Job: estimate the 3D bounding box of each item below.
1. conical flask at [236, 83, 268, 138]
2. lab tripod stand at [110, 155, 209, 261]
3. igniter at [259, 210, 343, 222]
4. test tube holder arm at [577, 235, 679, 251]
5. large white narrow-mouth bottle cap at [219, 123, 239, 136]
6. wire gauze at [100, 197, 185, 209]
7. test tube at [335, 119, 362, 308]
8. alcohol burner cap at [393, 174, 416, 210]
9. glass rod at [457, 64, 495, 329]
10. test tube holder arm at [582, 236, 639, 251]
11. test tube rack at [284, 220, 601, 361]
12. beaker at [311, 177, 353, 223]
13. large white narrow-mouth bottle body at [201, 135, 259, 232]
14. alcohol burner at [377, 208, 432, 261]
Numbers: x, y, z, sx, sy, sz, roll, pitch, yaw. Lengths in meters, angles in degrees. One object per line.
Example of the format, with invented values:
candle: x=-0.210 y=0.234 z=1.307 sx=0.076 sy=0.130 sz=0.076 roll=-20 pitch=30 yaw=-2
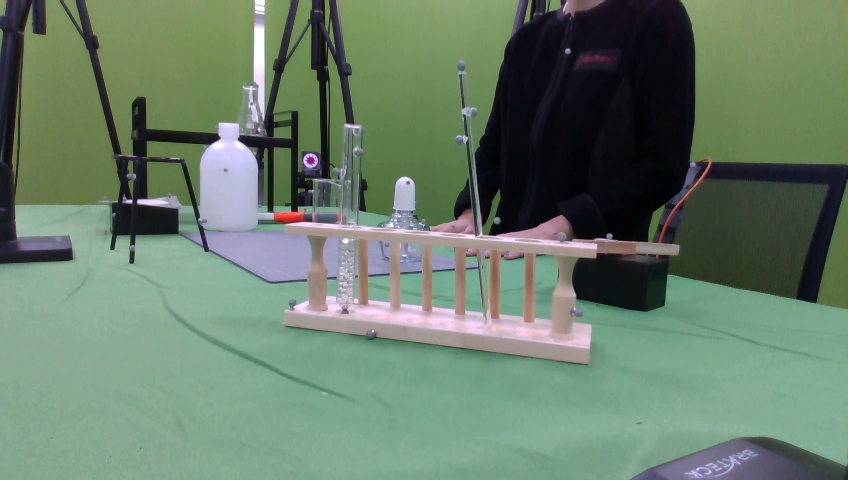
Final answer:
conical flask: x=-0.400 y=-0.298 z=1.396 sx=0.075 sy=0.122 sz=0.075 roll=2 pitch=8 yaw=0
lab tripod stand: x=-0.361 y=-0.046 z=0.806 sx=0.148 sy=0.131 sz=0.148 roll=2 pitch=5 yaw=0
igniter: x=-0.303 y=-0.049 z=1.258 sx=0.278 sy=0.025 sz=0.057 roll=-2 pitch=-2 yaw=-28
test tube holder arm: x=0.227 y=0.004 z=0.661 sx=0.179 sy=0.015 sz=0.013 roll=1 pitch=13 yaw=-39
large white narrow-mouth bottle cap: x=-0.356 y=-0.201 z=1.104 sx=0.038 sy=0.024 sz=0.037 roll=2 pitch=8 yaw=0
wire gauze: x=-0.469 y=-0.062 z=1.008 sx=0.126 sy=0.011 sz=0.121 roll=-2 pitch=8 yaw=-25
test tube: x=-0.060 y=-0.019 z=0.475 sx=0.017 sy=0.150 sz=0.017 roll=4 pitch=11 yaw=0
alcohol burner cap: x=-0.025 y=-0.067 z=0.833 sx=0.034 sy=0.048 sz=0.034 roll=4 pitch=12 yaw=-1
glass rod: x=0.040 y=-0.029 z=0.449 sx=0.008 sy=0.199 sz=0.008 roll=-7 pitch=9 yaw=1
test tube holder arm: x=0.194 y=0.004 z=0.629 sx=0.088 sy=0.015 sz=0.010 roll=2 pitch=13 yaw=-38
test tube rack: x=0.013 y=0.032 z=0.482 sx=0.242 sy=0.085 sz=0.067 roll=4 pitch=7 yaw=16
beaker: x=-0.167 y=-0.064 z=1.106 sx=0.074 sy=0.100 sz=0.083 roll=-2 pitch=9 yaw=-26
large white narrow-mouth bottle body: x=-0.358 y=-0.116 z=1.116 sx=0.102 sy=0.194 sz=0.102 roll=2 pitch=8 yaw=0
alcohol burner: x=-0.027 y=-0.031 z=0.838 sx=0.078 sy=0.119 sz=0.078 roll=0 pitch=6 yaw=0
